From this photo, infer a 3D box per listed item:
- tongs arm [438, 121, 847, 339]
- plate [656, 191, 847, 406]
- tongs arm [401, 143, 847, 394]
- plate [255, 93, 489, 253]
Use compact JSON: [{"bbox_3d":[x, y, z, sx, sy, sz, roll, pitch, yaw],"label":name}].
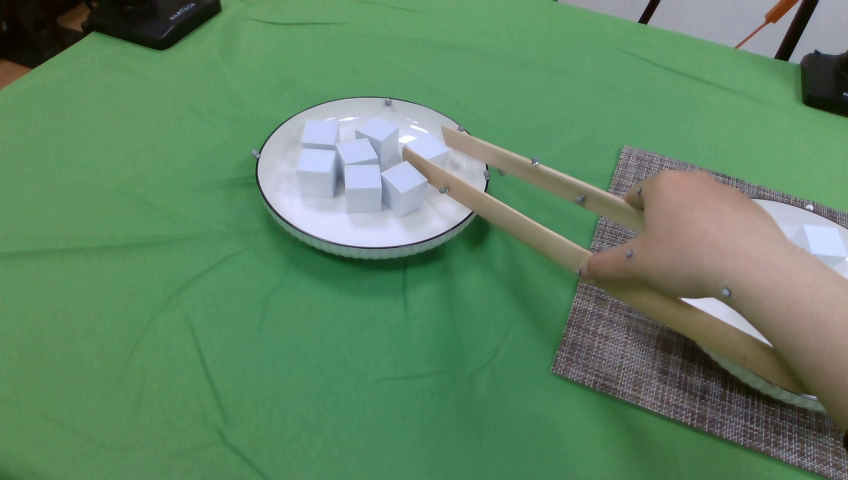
[{"bbox_3d":[0.130,-0.017,0.456,0.051,0.027,0.381,-37,47,-26],"label":"tongs arm"},{"bbox_3d":[0.290,0.044,0.495,0.208,0.039,0.205,3,48,-3],"label":"plate"},{"bbox_3d":[0.107,-0.001,0.444,0.028,0.028,0.383,-33,45,-27],"label":"tongs arm"},{"bbox_3d":[-0.046,-0.062,0.557,0.209,0.038,0.207,3,47,-3],"label":"plate"}]
